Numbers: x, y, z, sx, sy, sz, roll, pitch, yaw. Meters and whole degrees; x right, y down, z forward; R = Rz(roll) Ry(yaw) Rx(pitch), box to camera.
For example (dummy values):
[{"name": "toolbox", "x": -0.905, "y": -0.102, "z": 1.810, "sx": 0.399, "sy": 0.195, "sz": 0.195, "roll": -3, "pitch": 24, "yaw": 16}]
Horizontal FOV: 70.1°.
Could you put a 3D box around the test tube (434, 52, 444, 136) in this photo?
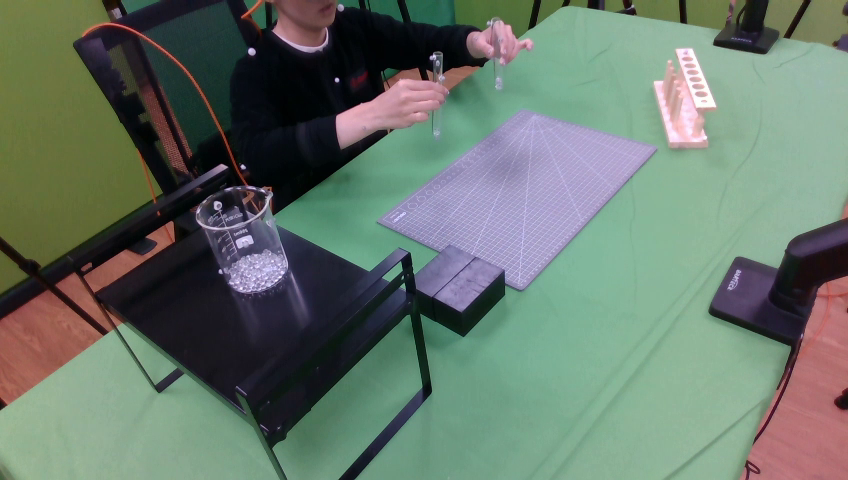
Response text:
[{"name": "test tube", "x": 0.024, "y": -0.239, "z": 1.005, "sx": 0.017, "sy": 0.151, "sz": 0.017, "roll": 0, "pitch": 41, "yaw": 0}]

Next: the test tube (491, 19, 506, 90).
[{"name": "test tube", "x": 0.134, "y": -0.329, "z": 1.084, "sx": 0.017, "sy": 0.151, "sz": 0.017, "roll": -5, "pitch": 55, "yaw": 8}]

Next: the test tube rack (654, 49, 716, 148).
[{"name": "test tube rack", "x": 0.502, "y": -0.281, "z": 1.176, "sx": 0.066, "sy": 0.085, "sz": 0.241, "roll": 1, "pitch": 41, "yaw": 11}]

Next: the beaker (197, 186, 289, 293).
[{"name": "beaker", "x": -0.192, "y": 0.001, "z": 0.666, "sx": 0.084, "sy": 0.101, "sz": 0.073, "roll": -32, "pitch": 47, "yaw": -27}]
